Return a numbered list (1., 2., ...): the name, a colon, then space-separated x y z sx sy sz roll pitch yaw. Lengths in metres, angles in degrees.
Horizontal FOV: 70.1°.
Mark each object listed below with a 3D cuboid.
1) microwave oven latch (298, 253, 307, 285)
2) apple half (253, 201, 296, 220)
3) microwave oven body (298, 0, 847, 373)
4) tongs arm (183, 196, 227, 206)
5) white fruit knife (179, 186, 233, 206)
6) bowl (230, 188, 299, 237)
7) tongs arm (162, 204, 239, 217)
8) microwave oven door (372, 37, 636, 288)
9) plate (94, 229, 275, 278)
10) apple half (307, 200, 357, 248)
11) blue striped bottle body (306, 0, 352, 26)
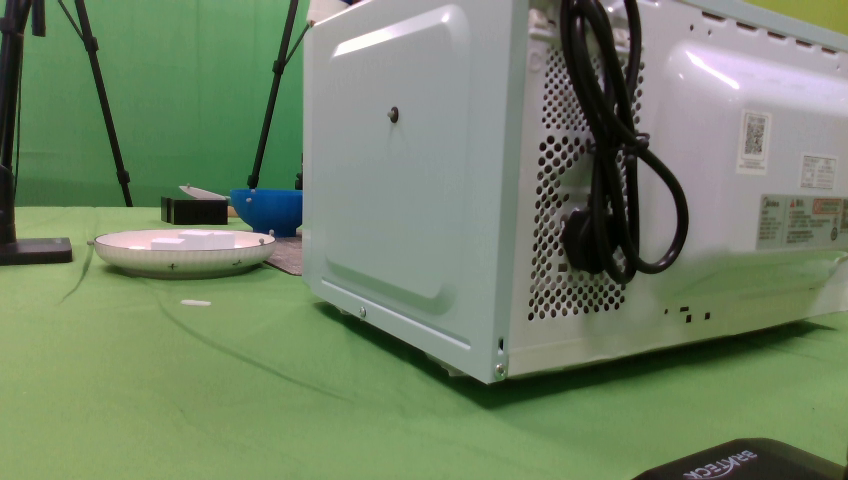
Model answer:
1. microwave oven latch: -0.082 0.027 0.583 0.079 0.029 0.030 -2 8 -34
2. apple half: -0.264 -0.053 1.067 0.081 0.033 0.081 1 8 0
3. microwave oven body: 0.151 -0.055 0.542 0.444 0.260 0.324 -2 7 -33
4. tongs arm: -0.404 -0.081 1.479 0.385 0.026 0.050 3 9 -2
5. white fruit knife: -0.413 -0.081 1.270 0.208 0.027 0.016 17 13 -41
6. bowl: -0.264 -0.048 1.066 0.151 0.077 0.151 3 8 0
7. tongs arm: -0.396 -0.066 1.399 0.389 0.028 0.028 1 6 -15
8. microwave oven door: 0.110 -0.080 0.686 0.358 0.243 0.039 -2 9 -33
9. plate: -0.291 0.016 0.750 0.208 0.039 0.207 2 7 0
10. apple half: -0.135 -0.024 0.942 0.053 0.074 0.081 13 8 38
11. blue striped bottle body: -0.135 -0.376 0.904 0.063 0.120 0.063 12 8 -1
